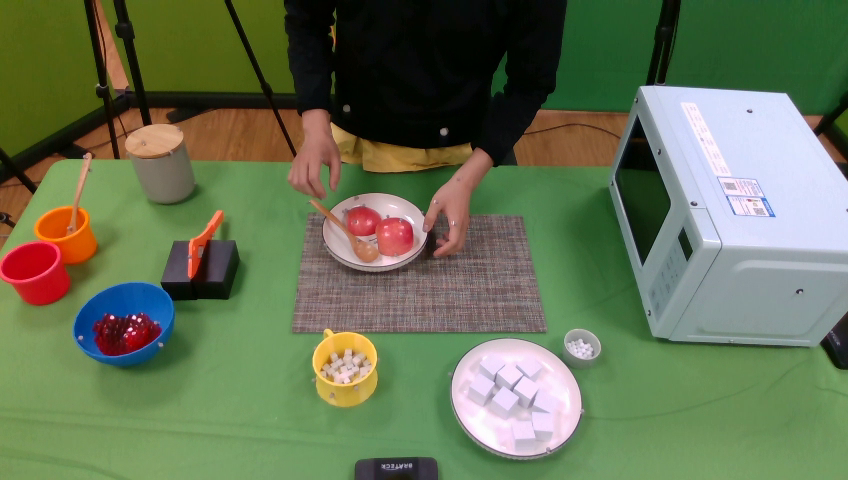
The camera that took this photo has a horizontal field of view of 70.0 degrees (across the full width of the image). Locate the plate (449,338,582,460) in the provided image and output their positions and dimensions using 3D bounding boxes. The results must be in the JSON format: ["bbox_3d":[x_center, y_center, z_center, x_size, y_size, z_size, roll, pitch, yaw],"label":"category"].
[{"bbox_3d":[0.141,0.251,0.956,0.208,0.039,0.206,2,46,-2],"label":"plate"}]

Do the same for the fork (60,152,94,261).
[{"bbox_3d":[-0.638,-0.063,1.119,0.028,0.018,0.207,12,90,8],"label":"fork"}]

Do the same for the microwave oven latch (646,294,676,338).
[{"bbox_3d":[0.413,0.133,1.061,0.030,0.029,0.078,4,46,1],"label":"microwave oven latch"}]

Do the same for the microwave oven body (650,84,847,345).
[{"bbox_3d":[0.569,-0.054,1.116,0.326,0.261,0.439,2,46,-1],"label":"microwave oven body"}]

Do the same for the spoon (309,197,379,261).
[{"bbox_3d":[-0.158,-0.025,1.172,0.041,0.022,0.193,-38,71,-25],"label":"spoon"}]

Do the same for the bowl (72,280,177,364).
[{"bbox_3d":[-0.473,0.147,0.982,0.151,0.077,0.150,2,46,-2],"label":"bowl"}]

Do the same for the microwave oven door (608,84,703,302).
[{"bbox_3d":[0.424,-0.096,1.138,0.039,0.245,0.353,2,47,-1],"label":"microwave oven door"}]

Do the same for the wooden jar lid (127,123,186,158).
[{"bbox_3d":[-0.519,-0.190,1.179,0.108,0.021,0.107,2,44,-2],"label":"wooden jar lid"}]

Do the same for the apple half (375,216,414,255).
[{"bbox_3d":[-0.056,-0.017,1.168,0.075,0.053,0.080,0,46,-7],"label":"apple half"}]

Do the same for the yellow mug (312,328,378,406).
[{"bbox_3d":[-0.132,0.193,0.971,0.100,0.064,0.130,-22,51,-22],"label":"yellow mug"}]

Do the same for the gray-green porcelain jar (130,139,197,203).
[{"bbox_3d":[-0.522,-0.148,1.225,0.106,0.127,0.105,2,47,-2],"label":"gray-green porcelain jar"}]

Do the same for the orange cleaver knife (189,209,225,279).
[{"bbox_3d":[-0.401,0.002,1.122,0.012,0.077,0.210,4,23,-4],"label":"orange cleaver knife"}]

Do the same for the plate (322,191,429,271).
[{"bbox_3d":[-0.094,-0.014,1.186,0.209,0.038,0.208,3,46,-2],"label":"plate"}]

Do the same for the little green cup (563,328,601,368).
[{"bbox_3d":[0.265,0.184,1.025,0.061,0.039,0.061,1,46,-1],"label":"little green cup"}]

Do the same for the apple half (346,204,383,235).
[{"bbox_3d":[-0.119,-0.049,1.207,0.081,0.033,0.081,3,50,-3],"label":"apple half"}]
